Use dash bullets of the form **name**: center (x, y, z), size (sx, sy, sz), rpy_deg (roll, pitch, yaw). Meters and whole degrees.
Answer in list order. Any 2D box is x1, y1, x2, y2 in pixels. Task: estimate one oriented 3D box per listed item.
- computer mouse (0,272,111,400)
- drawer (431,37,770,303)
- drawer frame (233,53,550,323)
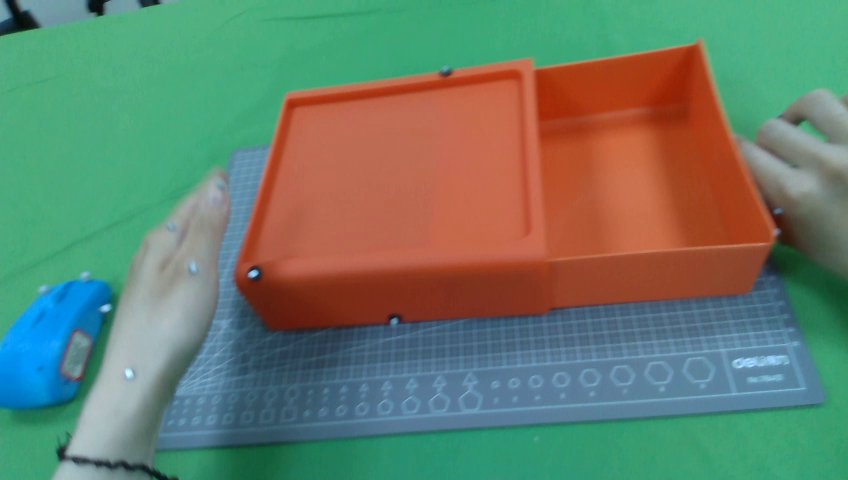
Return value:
- **computer mouse**: center (-0.303, 0.073, 0.491), size (0.062, 0.041, 0.116), rpy_deg (-7, 49, 10)
- **drawer**: center (0.112, -0.051, 0.451), size (0.211, 0.074, 0.192), rpy_deg (-5, 54, 9)
- **drawer frame**: center (-0.014, -0.041, 0.472), size (0.213, 0.083, 0.199), rpy_deg (-6, 54, 11)
